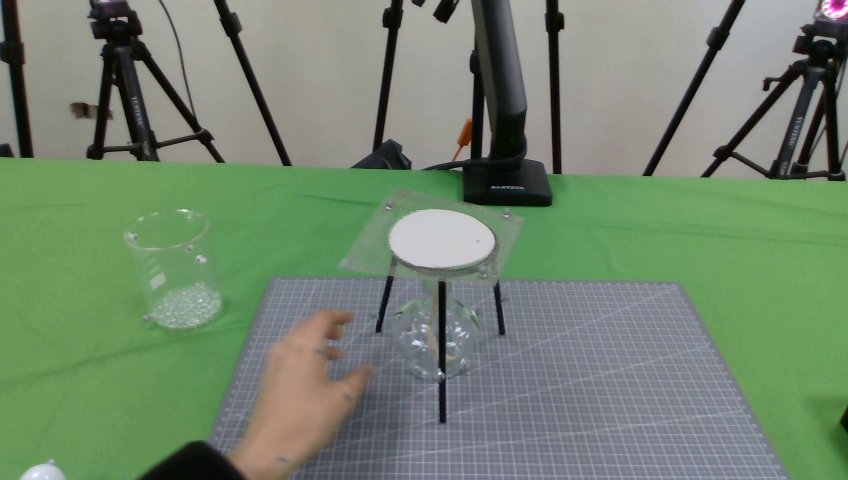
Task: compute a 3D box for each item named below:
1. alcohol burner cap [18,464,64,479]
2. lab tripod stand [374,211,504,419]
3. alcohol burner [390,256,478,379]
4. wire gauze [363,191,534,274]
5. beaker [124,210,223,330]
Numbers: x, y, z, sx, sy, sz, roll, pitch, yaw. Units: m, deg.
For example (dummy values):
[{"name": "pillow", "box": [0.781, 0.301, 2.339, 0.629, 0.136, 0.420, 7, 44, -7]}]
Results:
[{"name": "alcohol burner cap", "box": [-0.263, 0.176, 0.418, 0.034, 0.048, 0.033, 2, 33, -1]}, {"name": "lab tripod stand", "box": [0.016, 0.055, 0.522, 0.148, 0.132, 0.147, 2, 34, -1]}, {"name": "alcohol burner", "box": [0.010, 0.063, 0.528, 0.078, 0.120, 0.077, 2, 33, -1]}, {"name": "wire gauze", "box": [0.017, -0.012, 0.471, 0.125, 0.011, 0.120, 6, 27, -6]}, {"name": "beaker", "box": [-0.238, 0.030, 0.591, 0.074, 0.101, 0.083, 8, 33, 9]}]
